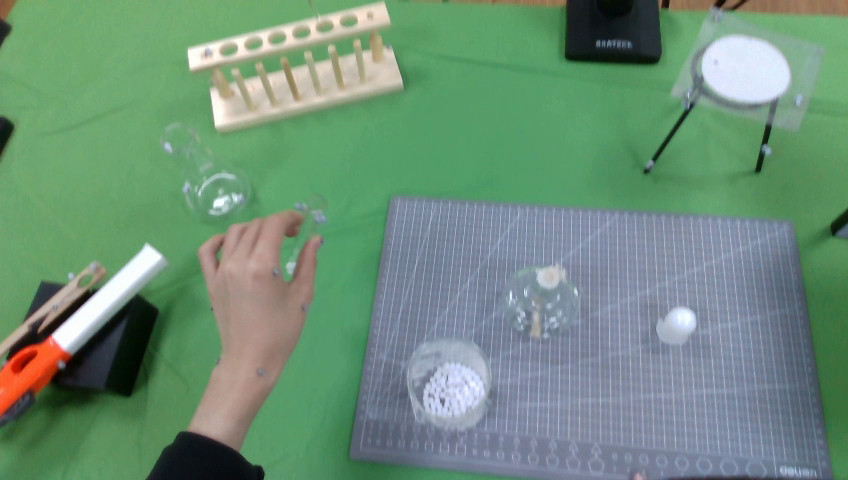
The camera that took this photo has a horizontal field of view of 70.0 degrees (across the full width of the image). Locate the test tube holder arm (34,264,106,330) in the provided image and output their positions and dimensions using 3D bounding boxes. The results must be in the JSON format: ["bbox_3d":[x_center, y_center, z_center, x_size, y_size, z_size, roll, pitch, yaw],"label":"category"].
[{"bbox_3d":[-0.364,0.058,0.620,0.087,0.015,0.010,-45,100,-16],"label":"test tube holder arm"}]

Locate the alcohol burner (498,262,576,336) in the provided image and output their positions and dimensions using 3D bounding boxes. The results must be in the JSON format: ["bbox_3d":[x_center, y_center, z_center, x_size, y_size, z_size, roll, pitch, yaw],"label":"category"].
[{"bbox_3d":[0.112,0.051,0.591,0.078,0.120,0.077,-1,64,2],"label":"alcohol burner"}]

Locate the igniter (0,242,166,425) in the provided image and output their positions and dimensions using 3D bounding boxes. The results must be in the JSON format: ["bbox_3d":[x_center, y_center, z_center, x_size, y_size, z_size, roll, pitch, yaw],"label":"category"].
[{"bbox_3d":[-0.368,0.109,0.594,0.057,0.025,0.276,32,70,27],"label":"igniter"}]

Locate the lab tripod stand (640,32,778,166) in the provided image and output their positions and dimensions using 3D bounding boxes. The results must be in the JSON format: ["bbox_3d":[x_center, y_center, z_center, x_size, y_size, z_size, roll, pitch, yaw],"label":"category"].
[{"bbox_3d":[0.315,-0.146,0.661,0.148,0.132,0.147,-1,64,2],"label":"lab tripod stand"}]

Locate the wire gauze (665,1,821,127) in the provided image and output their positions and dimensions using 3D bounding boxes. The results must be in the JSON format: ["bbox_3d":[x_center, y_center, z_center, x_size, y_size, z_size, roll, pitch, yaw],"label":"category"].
[{"bbox_3d":[0.318,-0.176,0.600,0.121,0.011,0.124,25,70,12],"label":"wire gauze"}]

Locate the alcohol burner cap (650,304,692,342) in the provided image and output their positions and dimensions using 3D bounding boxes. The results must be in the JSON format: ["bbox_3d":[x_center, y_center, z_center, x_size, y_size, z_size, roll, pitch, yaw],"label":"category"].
[{"bbox_3d":[0.250,0.080,0.608,0.034,0.048,0.033,-1,65,3],"label":"alcohol burner cap"}]

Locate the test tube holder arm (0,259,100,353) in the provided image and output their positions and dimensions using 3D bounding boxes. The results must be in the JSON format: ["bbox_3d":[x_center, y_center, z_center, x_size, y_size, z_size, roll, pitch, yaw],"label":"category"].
[{"bbox_3d":[-0.398,0.085,0.606,0.013,0.015,0.178,47,74,-10],"label":"test tube holder arm"}]

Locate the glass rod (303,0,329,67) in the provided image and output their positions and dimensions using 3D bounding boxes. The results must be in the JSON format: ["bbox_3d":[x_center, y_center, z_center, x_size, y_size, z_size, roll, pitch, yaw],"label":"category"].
[{"bbox_3d":[-0.137,-0.277,0.704,0.008,0.201,0.008,-4,58,8],"label":"glass rod"}]

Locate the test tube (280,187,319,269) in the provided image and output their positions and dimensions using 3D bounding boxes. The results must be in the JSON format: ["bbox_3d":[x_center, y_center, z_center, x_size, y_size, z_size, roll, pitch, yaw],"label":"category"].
[{"bbox_3d":[-0.109,-0.006,0.519,0.017,0.150,0.017,7,66,-16],"label":"test tube"}]

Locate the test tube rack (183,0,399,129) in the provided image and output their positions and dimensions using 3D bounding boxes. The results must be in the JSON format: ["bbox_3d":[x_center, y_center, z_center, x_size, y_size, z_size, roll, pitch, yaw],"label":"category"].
[{"bbox_3d":[-0.159,-0.218,0.752,0.242,0.086,0.066,-15,65,-3],"label":"test tube rack"}]

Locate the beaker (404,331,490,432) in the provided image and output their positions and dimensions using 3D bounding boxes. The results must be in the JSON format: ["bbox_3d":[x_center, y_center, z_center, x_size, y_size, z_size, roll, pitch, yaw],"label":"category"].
[{"bbox_3d":[0.021,0.139,0.564,0.073,0.101,0.084,33,72,18],"label":"beaker"}]

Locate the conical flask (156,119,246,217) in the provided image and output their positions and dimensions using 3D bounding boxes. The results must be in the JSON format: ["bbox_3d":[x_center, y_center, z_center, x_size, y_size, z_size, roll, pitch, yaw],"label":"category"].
[{"bbox_3d":[-0.253,-0.084,0.675,0.075,0.123,0.074,-2,64,4],"label":"conical flask"}]
